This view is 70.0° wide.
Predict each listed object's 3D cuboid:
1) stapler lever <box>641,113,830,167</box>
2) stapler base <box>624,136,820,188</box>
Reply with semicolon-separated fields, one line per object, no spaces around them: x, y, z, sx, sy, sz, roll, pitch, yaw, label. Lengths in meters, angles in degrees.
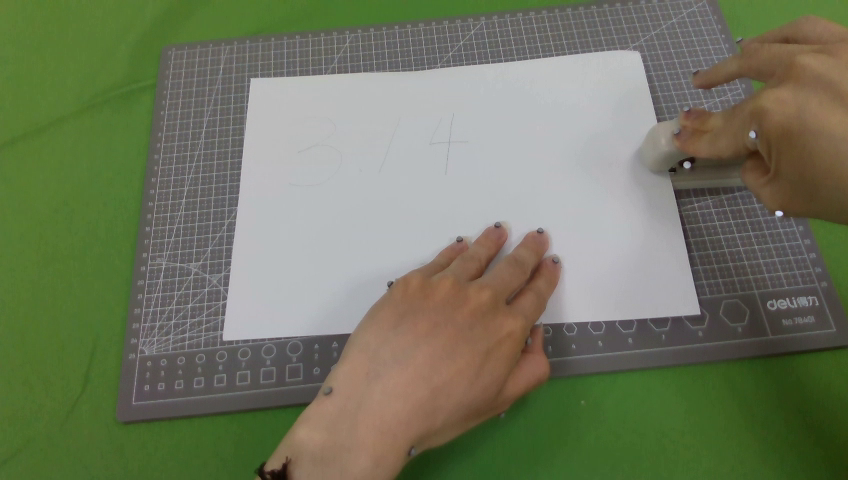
0.206;-0.068;0.401;0.118;0.040;0.026;-7;67;10;stapler lever
0.206;-0.061;0.415;0.130;0.024;0.041;-3;68;0;stapler base
